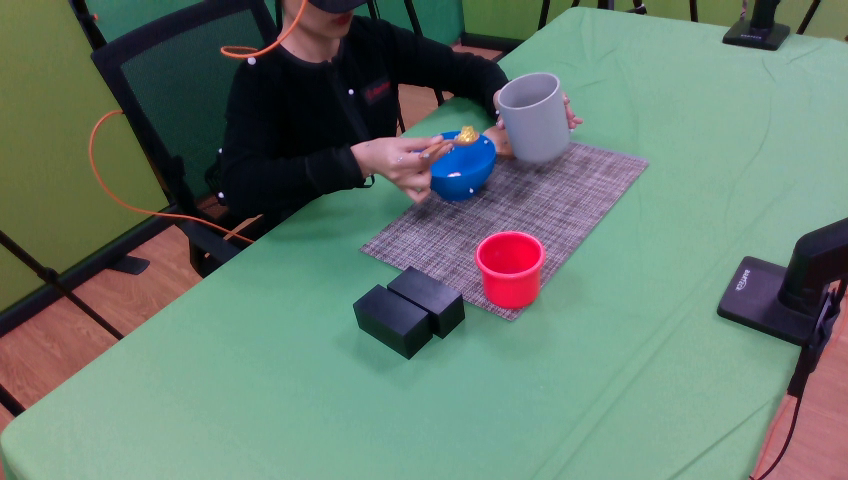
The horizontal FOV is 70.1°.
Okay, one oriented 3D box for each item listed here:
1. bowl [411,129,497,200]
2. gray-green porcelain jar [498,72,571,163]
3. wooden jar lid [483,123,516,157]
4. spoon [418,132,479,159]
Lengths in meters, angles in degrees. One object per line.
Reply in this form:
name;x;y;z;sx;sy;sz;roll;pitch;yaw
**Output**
bowl;0.056;-0.124;1.069;0.151;0.077;0.150;-5;40;5
gray-green porcelain jar;0.192;-0.204;1.037;0.105;0.127;0.105;-14;41;13
wooden jar lid;0.165;-0.194;1.177;0.108;0.021;0.108;-4;40;4
spoon;0.036;-0.148;0.936;0.041;0.021;0.194;7;18;27
